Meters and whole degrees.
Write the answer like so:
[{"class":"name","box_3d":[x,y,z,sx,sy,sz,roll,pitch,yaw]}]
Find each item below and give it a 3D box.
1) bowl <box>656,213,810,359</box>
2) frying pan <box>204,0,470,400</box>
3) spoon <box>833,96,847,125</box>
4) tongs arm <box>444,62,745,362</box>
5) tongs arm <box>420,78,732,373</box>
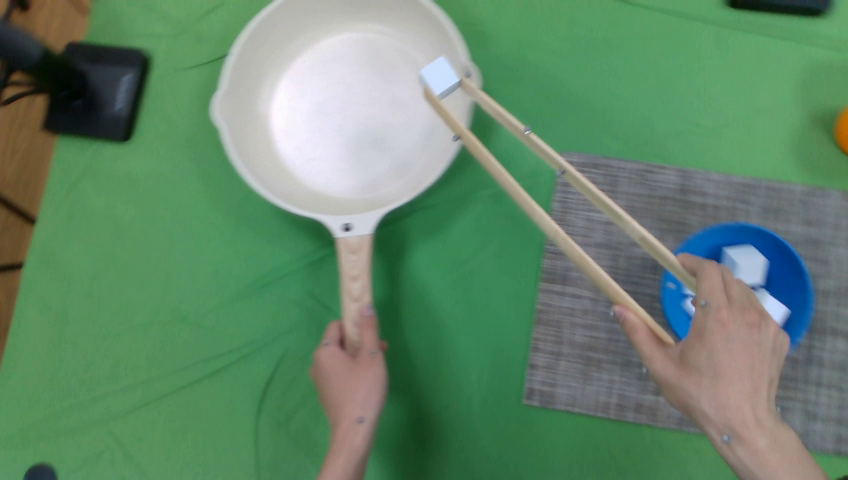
[{"class":"bowl","box_3d":[0.318,0.052,0.654,0.151,0.077,0.151,-1,82,4]},{"class":"frying pan","box_3d":[-0.089,-0.067,0.688,0.307,0.103,0.484,-6,73,4]},{"class":"spoon","box_3d":[0.530,-0.122,0.634,0.041,0.191,0.022,-45,124,-5]},{"class":"tongs arm","box_3d":[0.131,-0.041,0.550,0.051,0.027,0.381,-39,66,-13]},{"class":"tongs arm","box_3d":[0.112,-0.028,0.546,0.028,0.028,0.384,-34,65,-14]}]
